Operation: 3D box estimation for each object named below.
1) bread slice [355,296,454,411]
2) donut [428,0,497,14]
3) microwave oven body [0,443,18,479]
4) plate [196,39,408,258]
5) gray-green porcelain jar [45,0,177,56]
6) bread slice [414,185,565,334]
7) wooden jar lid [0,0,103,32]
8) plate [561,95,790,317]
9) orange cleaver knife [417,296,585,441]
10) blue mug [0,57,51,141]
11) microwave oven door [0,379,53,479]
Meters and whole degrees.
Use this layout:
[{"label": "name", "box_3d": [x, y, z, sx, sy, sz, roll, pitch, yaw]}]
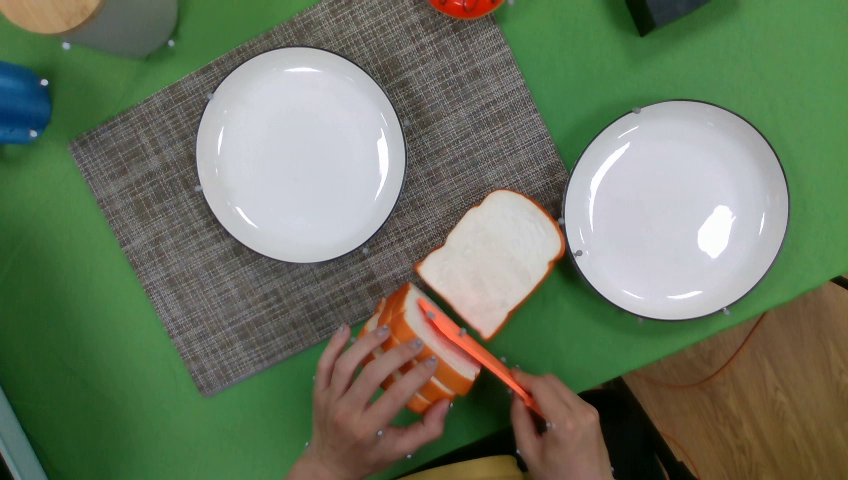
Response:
[{"label": "bread slice", "box_3d": [-0.020, 0.108, 0.573, 0.105, 0.131, 0.019, 42, 103, -1]}, {"label": "donut", "box_3d": [0.036, -0.259, 0.560, 0.099, 0.048, 0.099, 0, 98, 4]}, {"label": "microwave oven body", "box_3d": [-0.616, 0.223, 0.562, 0.326, 0.259, 0.442, -23, 96, 6]}, {"label": "plate", "box_3d": [-0.118, -0.087, 0.597, 0.207, 0.039, 0.208, 0, 98, 4]}, {"label": "gray-green porcelain jar", "box_3d": [-0.297, -0.229, 0.551, 0.106, 0.126, 0.106, 0, 97, 4]}, {"label": "bread slice", "box_3d": [0.069, 0.015, 0.589, 0.106, 0.018, 0.134, 46, 106, 8]}, {"label": "wooden jar lid", "box_3d": [-0.302, -0.222, 0.489, 0.108, 0.020, 0.108, 0, 96, 6]}, {"label": "plate", "box_3d": [0.235, -0.032, 0.582, 0.209, 0.038, 0.209, 1, 98, 5]}, {"label": "orange cleaver knife", "box_3d": [0.075, 0.123, 0.581, 0.213, 0.076, 0.012, 41, 91, -19]}, {"label": "blue mug", "box_3d": [-0.443, -0.127, 0.585, 0.082, 0.105, 0.116, 38, 99, -1]}, {"label": "microwave oven door", "box_3d": [-0.466, 0.206, 0.544, 0.039, 0.243, 0.356, -23, 95, 7]}]
